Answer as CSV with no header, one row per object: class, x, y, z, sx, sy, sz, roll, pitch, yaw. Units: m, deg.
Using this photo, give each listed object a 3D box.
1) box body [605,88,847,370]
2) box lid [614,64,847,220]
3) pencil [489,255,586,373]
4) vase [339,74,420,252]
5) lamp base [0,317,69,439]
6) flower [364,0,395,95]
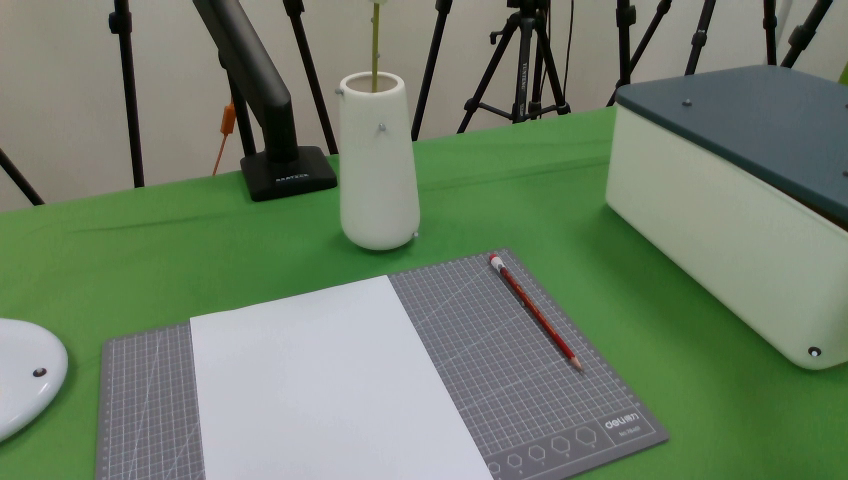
box body,0.406,-0.046,0.682,0.255,0.162,0.360,-13,37,-17
box lid,0.405,-0.117,0.630,0.264,0.015,0.367,-14,33,-16
pencil,0.115,0.072,0.639,0.012,0.012,0.192,-13,38,-18
vase,-0.055,-0.086,0.703,0.098,0.201,0.097,-1,34,1
lamp base,-0.417,0.063,0.502,0.177,0.182,0.160,22,40,31
flower,-0.053,-0.140,0.638,0.044,0.364,0.038,23,53,9
